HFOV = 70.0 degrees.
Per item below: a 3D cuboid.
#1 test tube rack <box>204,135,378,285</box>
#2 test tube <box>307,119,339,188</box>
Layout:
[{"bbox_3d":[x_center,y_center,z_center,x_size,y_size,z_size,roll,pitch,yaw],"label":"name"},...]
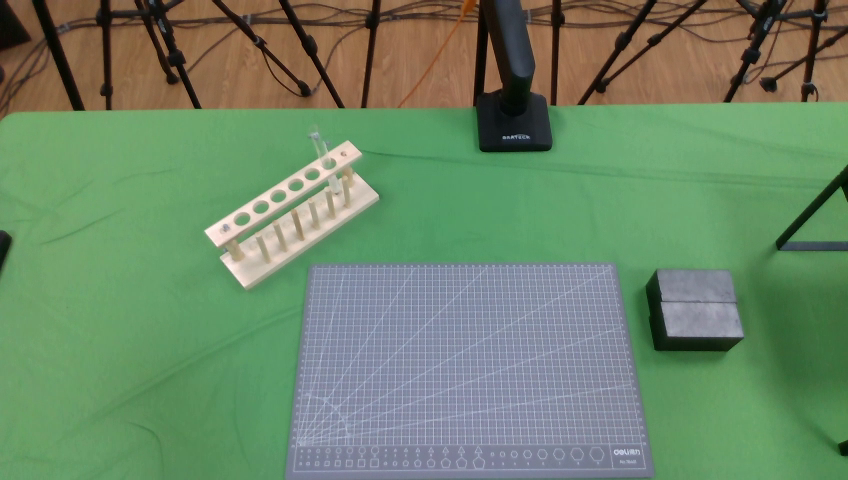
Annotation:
[{"bbox_3d":[-0.184,-0.045,0.880,0.242,0.086,0.066,-37,66,-20],"label":"test tube rack"},{"bbox_3d":[-0.143,-0.120,0.867,0.017,0.151,0.017,-2,62,4],"label":"test tube"}]
